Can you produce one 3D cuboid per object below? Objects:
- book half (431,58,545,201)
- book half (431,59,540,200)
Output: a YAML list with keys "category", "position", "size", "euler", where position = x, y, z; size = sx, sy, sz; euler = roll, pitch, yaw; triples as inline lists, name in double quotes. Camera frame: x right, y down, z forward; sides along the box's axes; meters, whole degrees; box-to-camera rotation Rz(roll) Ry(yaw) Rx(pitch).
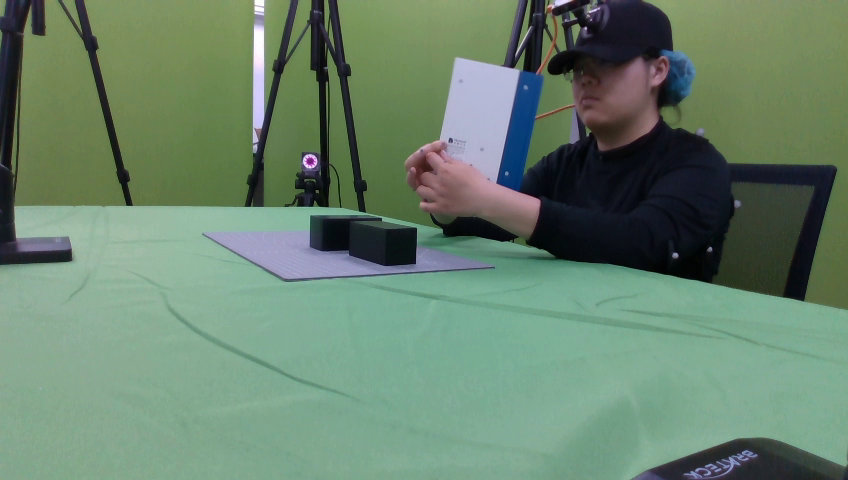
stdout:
- category: "book half"
  position: [0.104, -0.180, 0.998]
  size: [0.149, 0.210, 0.016]
  euler: [12, 5, -2]
- category: "book half"
  position: [0.101, -0.184, 1.010]
  size: [0.143, 0.210, 0.007]
  euler: [12, 5, 3]
